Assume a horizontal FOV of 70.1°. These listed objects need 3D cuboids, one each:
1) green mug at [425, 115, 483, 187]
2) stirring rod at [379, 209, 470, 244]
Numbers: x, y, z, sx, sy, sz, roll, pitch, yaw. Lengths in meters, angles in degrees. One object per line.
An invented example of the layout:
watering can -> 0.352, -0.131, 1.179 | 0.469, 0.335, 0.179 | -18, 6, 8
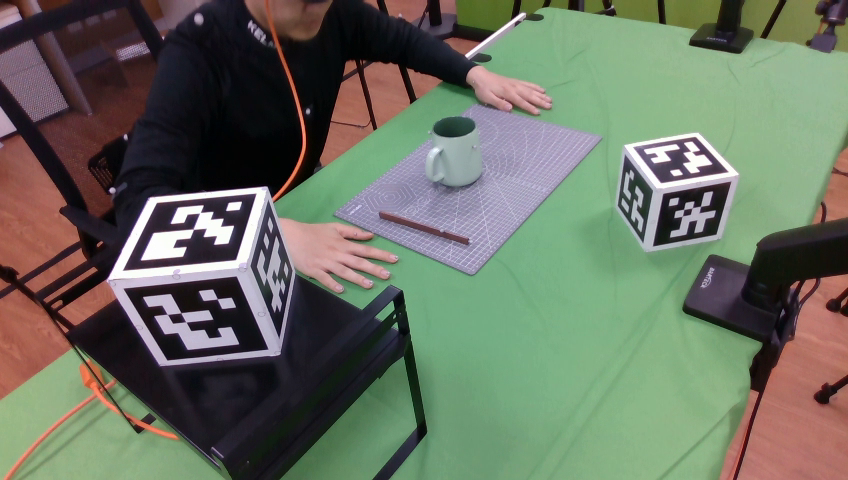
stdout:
green mug -> 0.047, -0.148, 1.068 | 0.092, 0.105, 0.125 | 24, 50, 31
stirring rod -> -0.001, -0.023, 0.997 | 0.175, 0.014, 0.006 | 19, 52, 27
